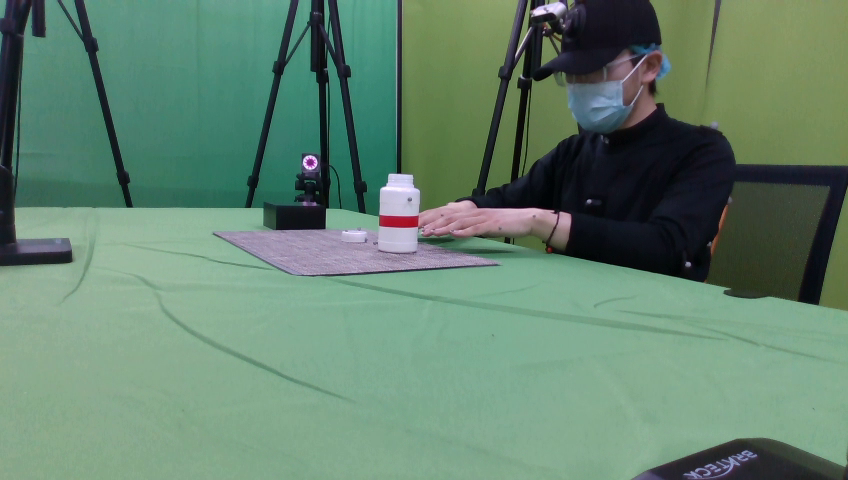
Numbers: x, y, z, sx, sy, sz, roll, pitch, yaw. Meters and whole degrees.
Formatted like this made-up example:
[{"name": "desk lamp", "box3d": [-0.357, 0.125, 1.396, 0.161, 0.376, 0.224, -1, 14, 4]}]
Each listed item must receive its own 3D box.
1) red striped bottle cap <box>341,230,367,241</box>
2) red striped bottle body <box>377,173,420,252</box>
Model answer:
[{"name": "red striped bottle cap", "box3d": [-0.120, -0.008, 1.034, 0.044, 0.017, 0.044, -2, 2, 0]}, {"name": "red striped bottle body", "box3d": [-0.039, -0.044, 0.936, 0.063, 0.119, 0.063, 2, 7, 0]}]
